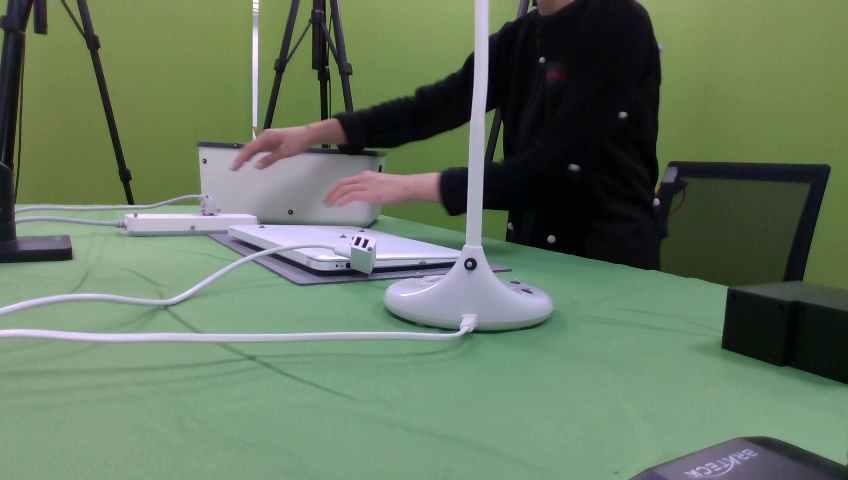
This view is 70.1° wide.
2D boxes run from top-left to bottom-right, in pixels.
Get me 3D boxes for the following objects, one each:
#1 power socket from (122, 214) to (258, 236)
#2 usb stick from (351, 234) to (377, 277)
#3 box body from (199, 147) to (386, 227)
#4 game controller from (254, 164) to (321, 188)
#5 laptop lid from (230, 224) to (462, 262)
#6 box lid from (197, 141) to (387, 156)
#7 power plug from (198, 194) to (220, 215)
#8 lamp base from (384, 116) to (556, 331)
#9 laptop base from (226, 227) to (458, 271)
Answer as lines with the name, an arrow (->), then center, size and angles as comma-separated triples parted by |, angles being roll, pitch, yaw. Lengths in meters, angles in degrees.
power socket -> -0.398, -0.028, 1.049 | 0.228, 0.032, 0.072 | -3, 8, -34
usb stick -> -0.068, 0.020, 0.689 | 0.027, 0.059, 0.021 | 13, 54, 7
box body -> -0.276, -0.124, 1.334 | 0.364, 0.160, 0.254 | 3, 7, 1
game controller -> -0.299, -0.139, 1.319 | 0.097, 0.051, 0.155 | -2, 6, 17
laptop lid -> -0.119, 0.000, 0.888 | 0.243, 0.013, 0.355 | 1, 7, -33
box lid -> -0.275, -0.198, 1.326 | 0.372, 0.015, 0.263 | 3, 8, 1
power plug -> -0.387, -0.055, 1.089 | 0.035, 0.052, 0.072 | -1, 7, -22
lamp base -> 0.046, -0.019, 0.545 | 0.161, 0.180, 0.179 | 1, 10, -4
laptop base -> -0.122, 0.011, 0.889 | 0.237, 0.023, 0.352 | 2, 6, -35
